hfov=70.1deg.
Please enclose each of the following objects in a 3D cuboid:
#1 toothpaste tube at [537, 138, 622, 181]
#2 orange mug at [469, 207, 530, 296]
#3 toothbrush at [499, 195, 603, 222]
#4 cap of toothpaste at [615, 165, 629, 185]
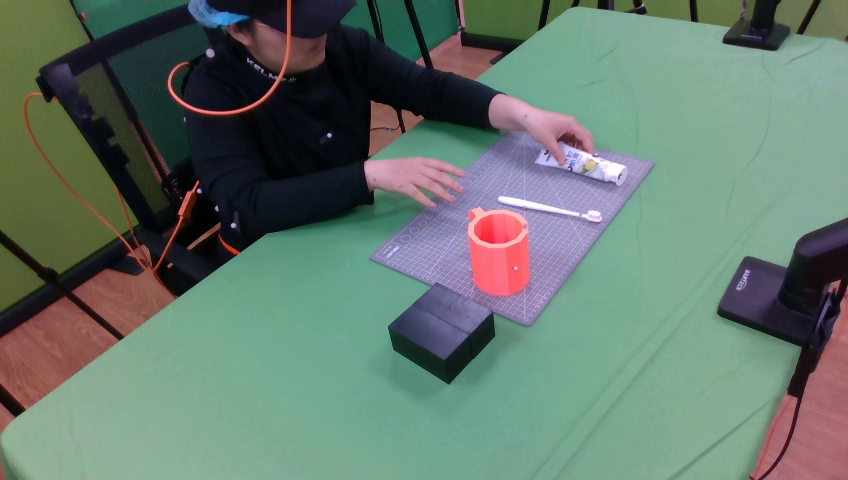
[{"bbox_3d":[0.282,-0.141,1.082,0.163,0.035,0.055,26,83,36],"label":"toothpaste tube"},{"bbox_3d":[0.104,0.008,0.894,0.084,0.101,0.125,-22,46,-14],"label":"orange mug"},{"bbox_3d":[0.209,-0.055,1.011,0.180,0.017,0.014,14,62,27],"label":"toothbrush"},{"bbox_3d":[0.337,-0.112,1.035,0.011,0.037,0.037,26,52,37],"label":"cap of toothpaste"}]
